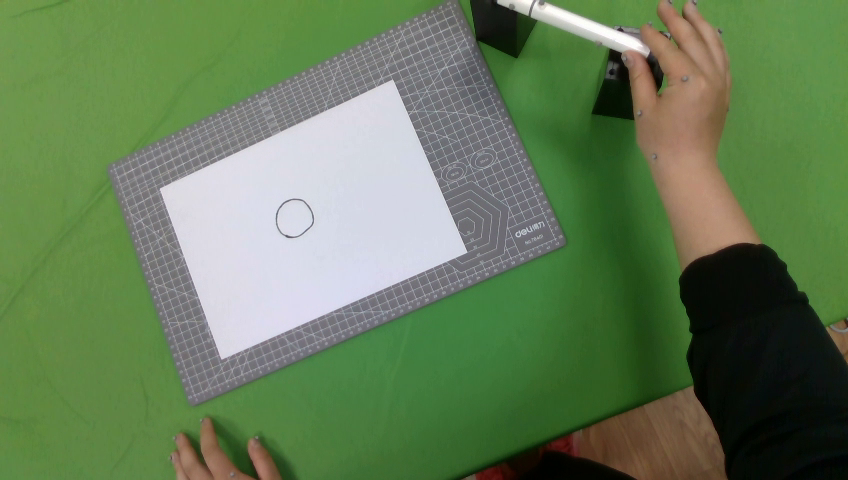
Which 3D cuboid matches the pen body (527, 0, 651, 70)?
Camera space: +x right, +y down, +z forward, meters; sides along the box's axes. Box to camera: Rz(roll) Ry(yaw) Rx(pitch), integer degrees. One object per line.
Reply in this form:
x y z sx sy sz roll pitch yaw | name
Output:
0.135 -0.191 0.542 0.143 0.017 0.017 32 90 10 | pen body

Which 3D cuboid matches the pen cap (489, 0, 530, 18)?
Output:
0.079 -0.217 0.553 0.038 0.017 0.017 25 89 12 | pen cap
